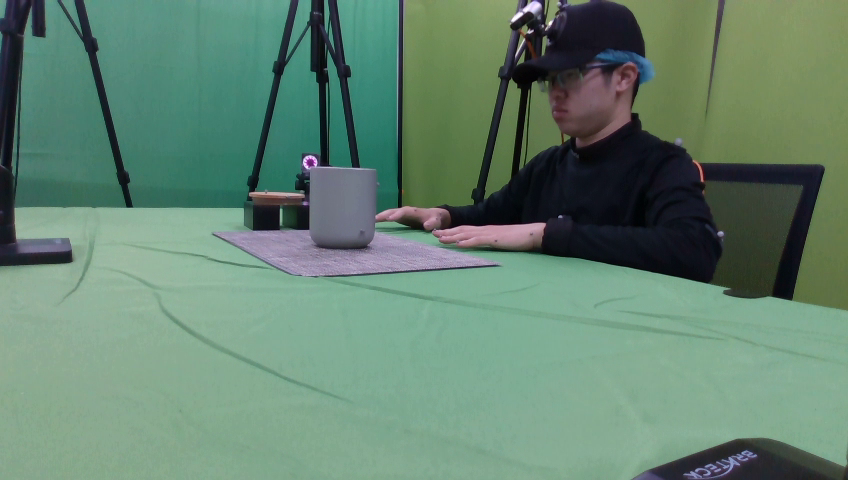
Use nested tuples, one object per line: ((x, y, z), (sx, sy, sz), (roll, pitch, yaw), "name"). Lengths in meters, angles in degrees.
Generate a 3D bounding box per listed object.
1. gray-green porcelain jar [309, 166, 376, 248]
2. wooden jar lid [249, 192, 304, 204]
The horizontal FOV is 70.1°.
((-0.130, -0.054, 0.966), (0.106, 0.126, 0.106), (2, 7, 0), "gray-green porcelain jar")
((-0.297, -0.086, 1.220), (0.108, 0.020, 0.108), (4, 7, 0), "wooden jar lid")
